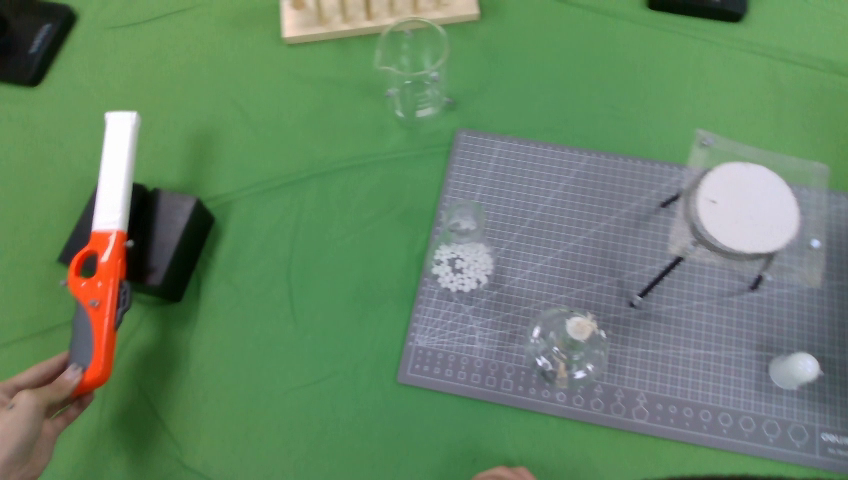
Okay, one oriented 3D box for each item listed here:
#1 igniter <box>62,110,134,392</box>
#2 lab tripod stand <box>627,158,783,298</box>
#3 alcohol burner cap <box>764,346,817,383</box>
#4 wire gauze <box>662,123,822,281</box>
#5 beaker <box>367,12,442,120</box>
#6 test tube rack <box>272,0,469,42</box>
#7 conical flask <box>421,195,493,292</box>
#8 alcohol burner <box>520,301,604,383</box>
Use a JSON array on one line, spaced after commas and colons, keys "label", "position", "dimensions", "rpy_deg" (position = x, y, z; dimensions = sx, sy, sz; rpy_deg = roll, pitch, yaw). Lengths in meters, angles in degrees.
[{"label": "igniter", "position": [-0.303, 0.002, 0.572], "dimensions": [0.057, 0.025, 0.274], "rpy_deg": [-2, 72, -6]}, {"label": "lab tripod stand", "position": [0.267, -0.006, 0.574], "dimensions": [0.148, 0.132, 0.147], "rpy_deg": [0, 67, 0]}, {"label": "alcohol burner cap", "position": [0.350, 0.115, 0.574], "dimensions": [0.034, 0.048, 0.033], "rpy_deg": [-1, 69, 2]}, {"label": "wire gauze", "position": [0.273, -0.034, 0.512], "dimensions": [0.121, 0.011, 0.124], "rpy_deg": [16, 70, 6]}, {"label": "beaker", "position": [-0.020, -0.187, 0.674], "dimensions": [0.084, 0.101, 0.073], "rpy_deg": [-30, 70, -9]}, {"label": "test tube rack", "position": [-0.069, -0.310, 0.731], "dimensions": [0.242, 0.086, 0.066], "rpy_deg": [-9, 69, -2]}, {"label": "conical flask", "position": [0.033, -0.001, 0.584], "dimensions": [0.075, 0.123, 0.075], "rpy_deg": [-1, 68, 2]}, {"label": "alcohol burner", "position": [0.129, 0.088, 0.551], "dimensions": [0.078, 0.120, 0.077], "rpy_deg": [0, 67, 0]}]
